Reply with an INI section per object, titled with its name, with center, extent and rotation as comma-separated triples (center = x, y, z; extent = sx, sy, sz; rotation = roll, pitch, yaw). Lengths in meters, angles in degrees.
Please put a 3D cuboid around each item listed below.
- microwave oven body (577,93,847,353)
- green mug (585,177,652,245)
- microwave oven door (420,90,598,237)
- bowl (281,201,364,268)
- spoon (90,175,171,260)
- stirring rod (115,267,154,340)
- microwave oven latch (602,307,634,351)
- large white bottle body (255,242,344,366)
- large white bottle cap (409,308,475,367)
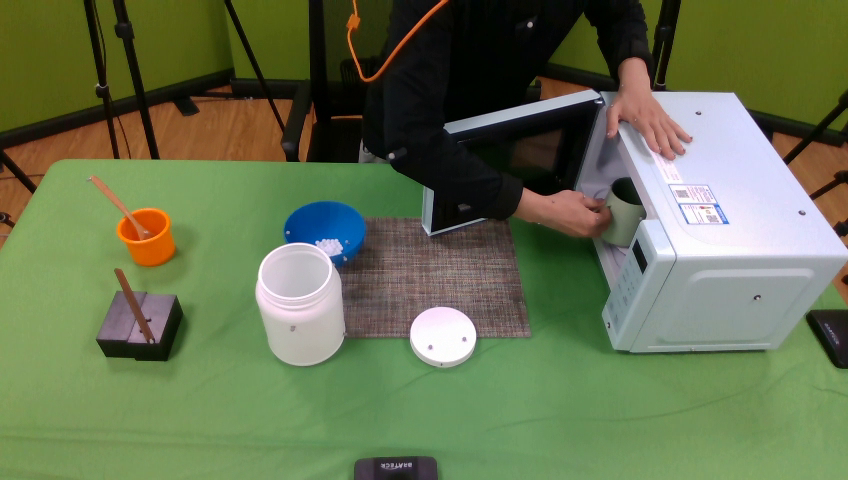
[microwave oven body]
center = 0.475, -0.041, 1.109
extent = 0.326, 0.261, 0.438
rotation = -1, 45, -4
[green mug]
center = 0.358, -0.049, 1.121
extent = 0.125, 0.105, 0.092
rotation = -13, 50, -11
[microwave oven door]
center = 0.165, -0.149, 1.184
extent = 0.356, 0.245, 0.039
rotation = -17, 49, -20
[bowl]
center = -0.187, 0.005, 1.138
extent = 0.151, 0.077, 0.150
rotation = 3, 46, -3
[spoon]
center = -0.539, -0.042, 1.111
extent = 0.041, 0.194, 0.021
rotation = -45, 19, -32
[stirring rod]
center = -0.478, 0.102, 0.999
extent = 0.014, 0.006, 0.175
rotation = 8, 32, -49
[microwave oven latch]
center = 0.332, 0.153, 1.044
extent = 0.030, 0.029, 0.078
rotation = 0, 45, -4
[large white bottle body]
center = -0.196, 0.102, 0.967
extent = 0.131, 0.185, 0.130
rotation = 2, 49, -2
[large white bottle cap]
center = 0.031, 0.166, 1.041
extent = 0.115, 0.018, 0.114
rotation = 2, 46, -2
